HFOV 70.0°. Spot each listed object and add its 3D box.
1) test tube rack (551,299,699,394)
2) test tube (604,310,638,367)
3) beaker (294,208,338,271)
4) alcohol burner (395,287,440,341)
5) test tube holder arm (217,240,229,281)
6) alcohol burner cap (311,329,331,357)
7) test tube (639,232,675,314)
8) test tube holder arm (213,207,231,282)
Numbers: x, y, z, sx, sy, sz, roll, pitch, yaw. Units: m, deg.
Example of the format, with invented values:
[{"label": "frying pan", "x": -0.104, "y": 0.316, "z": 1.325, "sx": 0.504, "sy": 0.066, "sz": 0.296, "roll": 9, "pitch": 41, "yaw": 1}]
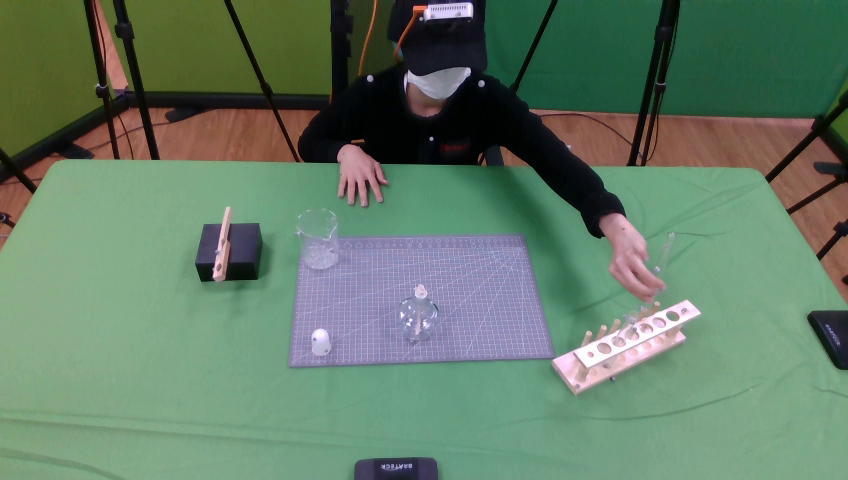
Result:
[{"label": "test tube rack", "x": 0.339, "y": 0.166, "z": 1.021, "sx": 0.242, "sy": 0.085, "sz": 0.066, "roll": -19, "pitch": 50, "yaw": -21}, {"label": "test tube", "x": 0.310, "y": 0.158, "z": 0.957, "sx": 0.017, "sy": 0.151, "sz": 0.017, "roll": 1, "pitch": 49, "yaw": -1}, {"label": "beaker", "x": -0.196, "y": 0.003, "z": 1.123, "sx": 0.074, "sy": 0.101, "sz": 0.083, "roll": -23, "pitch": 52, "yaw": -24}, {"label": "alcohol burner", "x": -0.010, "y": 0.116, "z": 1.018, "sx": 0.078, "sy": 0.119, "sz": 0.077, "roll": 3, "pitch": 47, "yaw": -3}, {"label": "test tube holder arm", "x": -0.354, "y": 0.035, "z": 1.070, "sx": 0.010, "sy": 0.015, "sz": 0.087, "roll": -10, "pitch": 47, "yaw": -1}, {"label": "alcohol burner cap", "x": -0.173, "y": 0.168, "z": 1.004, "sx": 0.034, "sy": 0.048, "sz": 0.033, "roll": 2, "pitch": 46, "yaw": -2}, {"label": "test tube", "x": 0.380, "y": 0.055, "z": 0.988, "sx": 0.017, "sy": 0.151, "sz": 0.017, "roll": 8, "pitch": 26, "yaw": -3}, {"label": "test tube holder arm", "x": -0.366, "y": 0.004, "z": 1.101, "sx": 0.013, "sy": 0.015, "sz": 0.177, "roll": -10, "pitch": 47, "yaw": -1}]
